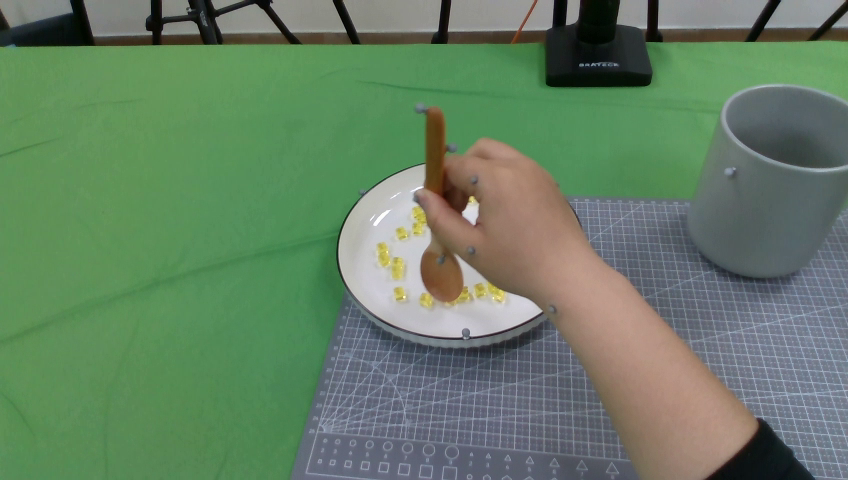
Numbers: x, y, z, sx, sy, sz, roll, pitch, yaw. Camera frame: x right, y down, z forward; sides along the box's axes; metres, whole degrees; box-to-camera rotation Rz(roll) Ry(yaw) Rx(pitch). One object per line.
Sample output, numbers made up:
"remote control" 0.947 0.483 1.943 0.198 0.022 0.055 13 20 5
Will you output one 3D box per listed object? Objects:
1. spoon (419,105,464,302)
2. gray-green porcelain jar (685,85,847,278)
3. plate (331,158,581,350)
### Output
"spoon" 0.010 -0.014 0.415 0.041 0.195 0.021 30 63 22
"gray-green porcelain jar" 0.272 -0.040 0.482 0.106 0.128 0.105 -3 47 3
"plate" 0.027 0.010 0.519 0.207 0.039 0.205 -2 47 3
